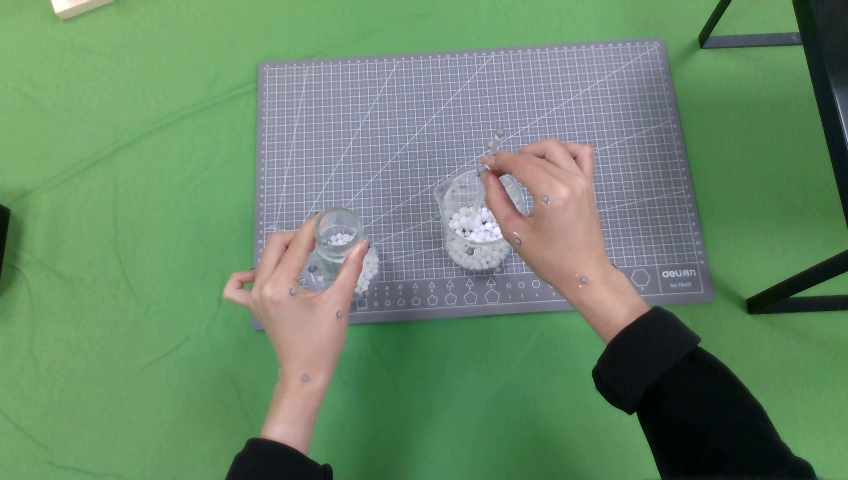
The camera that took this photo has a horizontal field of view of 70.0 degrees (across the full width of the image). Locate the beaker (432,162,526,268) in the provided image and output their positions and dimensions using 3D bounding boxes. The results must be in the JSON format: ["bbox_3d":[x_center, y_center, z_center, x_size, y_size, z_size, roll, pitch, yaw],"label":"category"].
[{"bbox_3d":[0.048,-0.019,0.565,0.084,0.101,0.073,20,74,8],"label":"beaker"}]

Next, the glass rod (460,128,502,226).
[{"bbox_3d":[0.045,-0.046,0.511,0.008,0.200,0.008,1,73,-3],"label":"glass rod"}]

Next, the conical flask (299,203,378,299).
[{"bbox_3d":[-0.076,0.005,0.533,0.075,0.122,0.075,2,73,-7],"label":"conical flask"}]

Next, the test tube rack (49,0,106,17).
[{"bbox_3d":[-0.327,-0.346,0.681,0.242,0.085,0.066,-24,74,-6],"label":"test tube rack"}]
